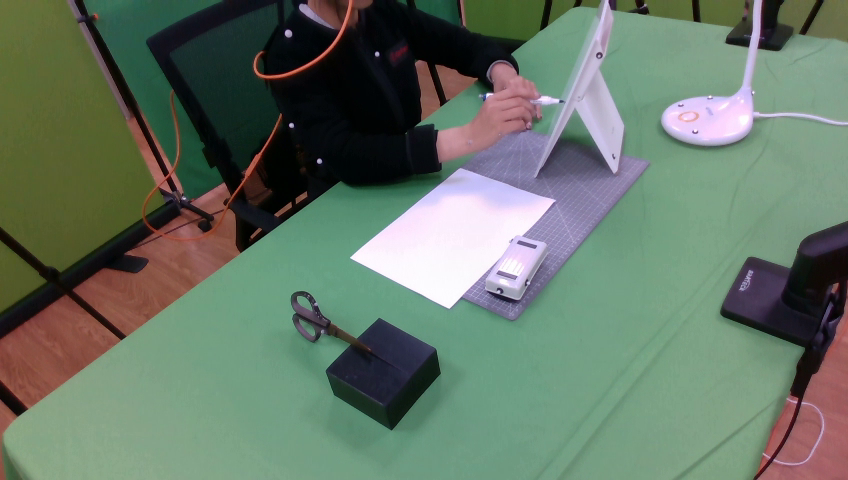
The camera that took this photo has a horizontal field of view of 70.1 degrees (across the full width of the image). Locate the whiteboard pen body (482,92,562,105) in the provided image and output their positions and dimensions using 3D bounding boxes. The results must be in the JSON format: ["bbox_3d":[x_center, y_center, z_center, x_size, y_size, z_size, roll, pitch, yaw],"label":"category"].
[{"bbox_3d":[0.172,-0.247,1.057,0.140,0.017,0.017,6,42,11],"label":"whiteboard pen body"}]

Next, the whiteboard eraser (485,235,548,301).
[{"bbox_3d":[0.137,0.042,0.887,0.055,0.042,0.113,15,46,27],"label":"whiteboard eraser"}]

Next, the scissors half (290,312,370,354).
[{"bbox_3d":[-0.128,0.129,0.816,0.013,0.040,0.173,-23,22,-40],"label":"scissors half"}]

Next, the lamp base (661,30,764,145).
[{"bbox_3d":[0.535,-0.287,1.096,0.179,0.181,0.159,-10,40,-4],"label":"lamp base"}]

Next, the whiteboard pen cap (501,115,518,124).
[{"bbox_3d":[0.173,-0.243,1.226,0.033,0.018,0.018,-14,38,-30],"label":"whiteboard pen cap"}]

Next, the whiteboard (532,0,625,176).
[{"bbox_3d":[0.320,-0.259,1.050,0.144,0.306,0.217,21,45,5],"label":"whiteboard"}]

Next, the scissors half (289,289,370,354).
[{"bbox_3d":[-0.128,0.110,0.809,0.013,0.040,0.173,-17,36,-43],"label":"scissors half"}]
